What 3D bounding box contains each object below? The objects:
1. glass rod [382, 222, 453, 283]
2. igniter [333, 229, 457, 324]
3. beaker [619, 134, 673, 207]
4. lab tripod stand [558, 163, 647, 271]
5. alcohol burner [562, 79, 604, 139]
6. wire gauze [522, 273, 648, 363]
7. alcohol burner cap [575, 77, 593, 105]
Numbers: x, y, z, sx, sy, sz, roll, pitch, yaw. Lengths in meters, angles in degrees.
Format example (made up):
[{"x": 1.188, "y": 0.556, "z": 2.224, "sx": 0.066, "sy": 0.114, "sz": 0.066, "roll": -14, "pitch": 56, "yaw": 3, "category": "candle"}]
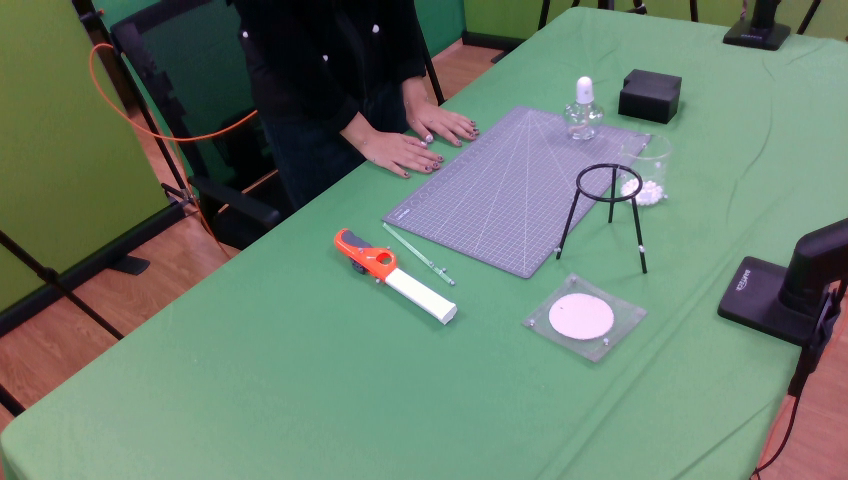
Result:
[{"x": -0.014, "y": 0.016, "z": 0.976, "sx": 0.008, "sy": 0.008, "sz": 0.198, "roll": -30, "pitch": 44, "yaw": -22, "category": "glass rod"}, {"x": -0.055, "y": 0.049, "z": 0.929, "sx": 0.057, "sy": 0.025, "sz": 0.274, "roll": -42, "pitch": 49, "yaw": -20, "category": "igniter"}, {"x": 0.356, "y": -0.111, "z": 0.986, "sx": 0.084, "sy": 0.101, "sz": 0.073, "roll": -10, "pitch": 40, "yaw": 1, "category": "beaker"}, {"x": 0.271, "y": -0.034, "z": 0.885, "sx": 0.148, "sy": 0.132, "sz": 0.147, "roll": -4, "pitch": 40, "yaw": 4, "category": "lab tripod stand"}, {"x": 0.303, "y": -0.253, "z": 1.147, "sx": 0.078, "sy": 0.119, "sz": 0.077, "roll": -4, "pitch": 41, "yaw": 4, "category": "alcohol burner"}, {"x": 0.220, "y": 0.105, "z": 0.828, "sx": 0.125, "sy": 0.011, "sz": 0.120, "roll": -35, "pitch": 47, "yaw": -30, "category": "wire gauze"}, {"x": 0.297, "y": -0.279, "z": 1.124, "sx": 0.034, "sy": 0.048, "sz": 0.033, "roll": -8, "pitch": 41, "yaw": 8, "category": "alcohol burner cap"}]
